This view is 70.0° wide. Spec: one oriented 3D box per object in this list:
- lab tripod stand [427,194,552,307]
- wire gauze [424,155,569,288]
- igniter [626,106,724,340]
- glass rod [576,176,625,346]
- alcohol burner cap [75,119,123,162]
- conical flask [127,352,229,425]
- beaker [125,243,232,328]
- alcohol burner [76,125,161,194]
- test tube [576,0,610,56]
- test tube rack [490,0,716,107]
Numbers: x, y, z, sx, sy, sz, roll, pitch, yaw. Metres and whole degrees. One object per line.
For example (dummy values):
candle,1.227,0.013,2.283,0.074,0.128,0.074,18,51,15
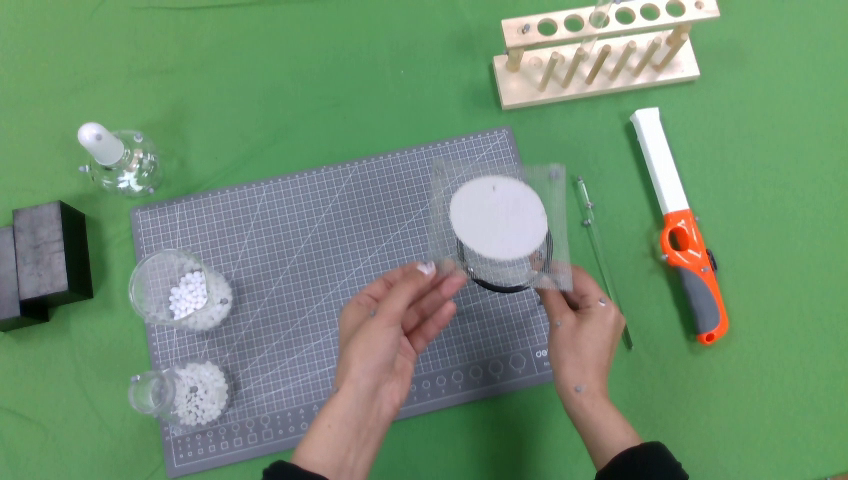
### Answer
lab tripod stand,0.068,0.019,0.615,0.148,0.132,0.147,1,78,-3
wire gauze,0.063,-0.021,0.524,0.125,0.011,0.120,6,63,-3
igniter,0.285,-0.025,0.690,0.057,0.025,0.275,-9,77,-13
glass rod,0.199,0.022,0.686,0.008,0.008,0.199,-11,80,-4
alcohol burner cap,-0.332,-0.104,0.614,0.034,0.048,0.033,0,70,0
conical flask,-0.242,0.143,0.587,0.075,0.122,0.075,0,76,-1
beaker,-0.242,0.053,0.620,0.084,0.100,0.074,23,77,4
alcohol burner,-0.332,-0.093,0.649,0.078,0.119,0.077,0,77,1
test tube,0.187,-0.245,0.659,0.017,0.151,0.017,0,76,2
test tube rack,0.205,-0.222,0.705,0.242,0.085,0.066,-9,76,-3
